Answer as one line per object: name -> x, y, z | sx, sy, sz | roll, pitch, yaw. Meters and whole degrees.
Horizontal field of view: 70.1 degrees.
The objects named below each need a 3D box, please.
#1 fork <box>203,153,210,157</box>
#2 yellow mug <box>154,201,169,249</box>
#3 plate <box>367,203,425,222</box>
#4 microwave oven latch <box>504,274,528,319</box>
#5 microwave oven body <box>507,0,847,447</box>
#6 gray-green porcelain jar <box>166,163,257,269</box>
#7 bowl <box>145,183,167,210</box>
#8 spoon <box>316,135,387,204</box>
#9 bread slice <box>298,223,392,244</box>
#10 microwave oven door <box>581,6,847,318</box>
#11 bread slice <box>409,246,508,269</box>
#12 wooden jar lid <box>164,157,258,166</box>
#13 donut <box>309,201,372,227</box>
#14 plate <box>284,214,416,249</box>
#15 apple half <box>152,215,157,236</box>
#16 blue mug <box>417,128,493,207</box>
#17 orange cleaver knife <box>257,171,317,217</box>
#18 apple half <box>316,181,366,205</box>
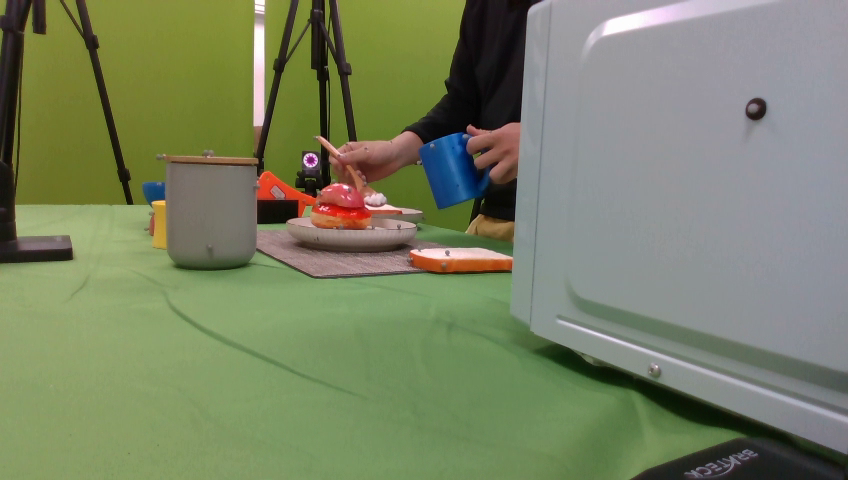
fork -> -0.480, -0.134, 1.411 | 0.028, 0.018, 0.207 | 1, -35, 0
yellow mug -> -0.337, -0.022, 0.899 | 0.130, 0.064, 0.100 | 8, 9, 34
plate -> -0.102, -0.053, 1.299 | 0.209, 0.038, 0.209 | 2, 8, 0
microwave oven latch -> 0.100, 0.041, 0.470 | 0.079, 0.029, 0.030 | -1, 7, -27
microwave oven body -> 0.331, -0.042, 0.425 | 0.444, 0.260, 0.324 | -2, 8, -31
gray-green porcelain jar -> -0.263, -0.031, 0.754 | 0.106, 0.126, 0.106 | 2, 7, 0
bowl -> -0.459, -0.068, 1.175 | 0.151, 0.077, 0.151 | 2, 7, 0
spoon -> -0.128, -0.124, 1.034 | 0.042, 0.021, 0.193 | -21, 60, -38
bread slice -> -0.120, -0.012, 0.971 | 0.106, 0.018, 0.135 | 9, 12, 42
microwave oven door -> 0.295, -0.067, 0.569 | 0.358, 0.243, 0.039 | -3, 8, -31
bread slice -> 0.048, 0.022, 0.816 | 0.132, 0.019, 0.104 | 0, 7, -24
wooden jar lid -> -0.261, -0.093, 0.746 | 0.108, 0.020, 0.108 | 0, 9, 0
donut -> -0.132, -0.042, 0.959 | 0.099, 0.048, 0.099 | 3, 8, 0
plate -> -0.116, -0.014, 0.967 | 0.208, 0.039, 0.207 | 2, 8, 0
apple half -> -0.415, -0.034, 1.017 | 0.081, 0.053, 0.074 | 1, 10, -9
blue mug -> 0.058, -0.120, 0.967 | 0.116, 0.106, 0.083 | -19, 1, 35
orange cleaver knife -> -0.283, -0.087, 1.343 | 0.212, 0.077, 0.012 | 24, -16, -41
apple half -> -0.128, -0.077, 0.954 | 0.081, 0.033, 0.081 | 6, 13, -1
